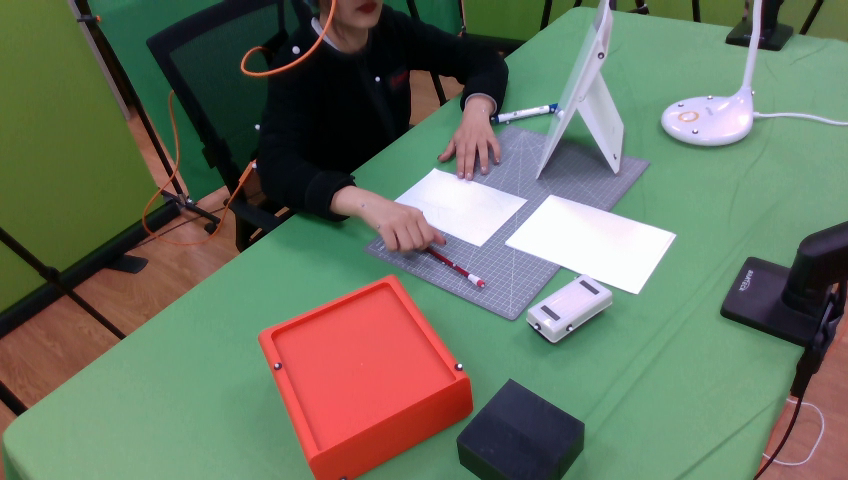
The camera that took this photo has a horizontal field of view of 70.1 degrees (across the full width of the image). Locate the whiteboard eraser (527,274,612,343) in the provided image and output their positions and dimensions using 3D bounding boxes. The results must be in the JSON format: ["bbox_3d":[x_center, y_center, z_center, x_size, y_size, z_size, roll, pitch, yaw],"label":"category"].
[{"bbox_3d":[0.198,0.094,0.820,0.113,0.042,0.055,-29,43,-22],"label":"whiteboard eraser"}]

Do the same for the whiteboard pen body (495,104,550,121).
[{"bbox_3d":[0.216,-0.267,1.257,0.141,0.017,0.017,-12,40,-5],"label":"whiteboard pen body"}]

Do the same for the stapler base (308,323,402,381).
[{"bbox_3d":[-0.094,0.142,0.812,0.131,0.024,0.041,-25,29,-17],"label":"stapler base"}]

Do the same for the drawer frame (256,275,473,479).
[{"bbox_3d":[-0.078,0.164,0.756,0.202,0.083,0.211,-23,43,-17],"label":"drawer frame"}]

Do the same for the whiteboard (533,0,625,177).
[{"bbox_3d":[0.321,-0.258,1.049,0.144,0.306,0.217,20,45,4],"label":"whiteboard"}]

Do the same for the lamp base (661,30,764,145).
[{"bbox_3d":[0.535,-0.287,1.096,0.179,0.181,0.159,-10,40,-4],"label":"lamp base"}]

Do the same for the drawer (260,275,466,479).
[{"bbox_3d":[-0.080,0.162,0.760,0.195,0.073,0.210,-22,42,-16],"label":"drawer"}]

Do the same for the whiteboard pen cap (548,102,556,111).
[{"bbox_3d":[0.273,-0.279,1.259,0.033,0.018,0.018,-10,40,-4],"label":"whiteboard pen cap"}]

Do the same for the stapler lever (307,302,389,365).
[{"bbox_3d":[-0.101,0.121,0.799,0.118,0.040,0.026,-26,29,-17],"label":"stapler lever"}]

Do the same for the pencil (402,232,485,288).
[{"bbox_3d":[0.026,0.027,0.949,0.012,0.012,0.192,-34,45,-26],"label":"pencil"}]
